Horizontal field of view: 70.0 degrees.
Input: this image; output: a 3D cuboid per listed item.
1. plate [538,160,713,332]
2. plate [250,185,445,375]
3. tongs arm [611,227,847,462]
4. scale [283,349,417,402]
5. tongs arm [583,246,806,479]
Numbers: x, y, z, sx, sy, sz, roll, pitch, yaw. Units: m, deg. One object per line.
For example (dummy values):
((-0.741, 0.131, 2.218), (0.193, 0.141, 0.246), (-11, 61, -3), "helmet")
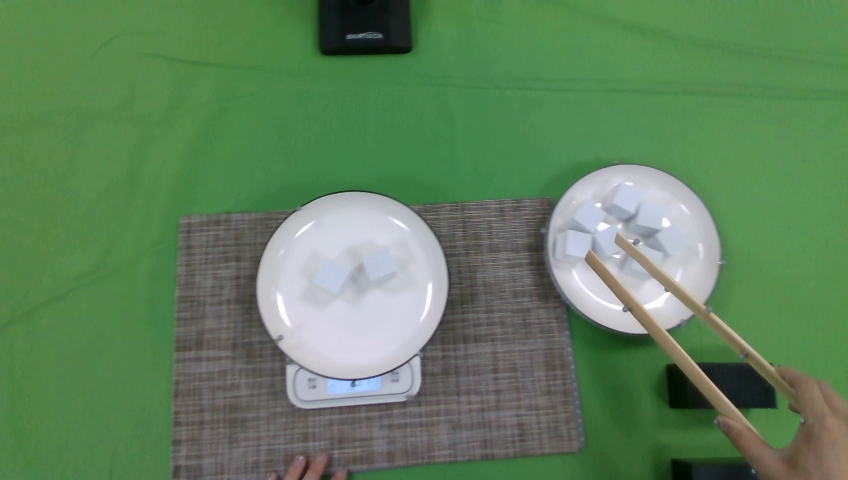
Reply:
((0.237, 0.008, 0.727), (0.208, 0.039, 0.206), (1, 77, -3), "plate")
((-0.082, 0.043, 0.665), (0.209, 0.038, 0.208), (1, 77, -4), "plate")
((0.302, 0.131, 0.560), (0.051, 0.027, 0.381), (-36, 65, -16), "tongs arm")
((-0.087, 0.078, 0.691), (0.149, 0.031, 0.200), (-3, 78, -4), "scale")
((0.280, 0.145, 0.554), (0.028, 0.028, 0.384), (-31, 64, -17), "tongs arm")
